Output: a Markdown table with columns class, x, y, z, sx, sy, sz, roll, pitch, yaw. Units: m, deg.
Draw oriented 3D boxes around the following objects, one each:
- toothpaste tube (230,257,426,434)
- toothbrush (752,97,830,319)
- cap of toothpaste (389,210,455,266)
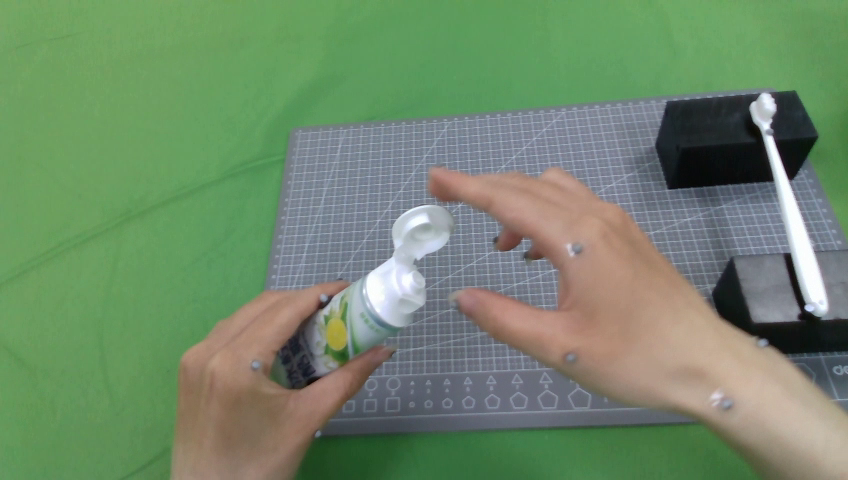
| class | x | y | z | sx | sy | sz | roll | pitch | yaw |
| --- | --- | --- | --- | --- | --- | --- | --- | --- | --- |
| toothpaste tube | -0.060 | 0.059 | 0.355 | 0.165 | 0.035 | 0.054 | -37 | 69 | 29 |
| toothbrush | 0.250 | -0.029 | 0.414 | 0.014 | 0.017 | 0.180 | 9 | 58 | -4 |
| cap of toothpaste | -0.001 | -0.001 | 0.321 | 0.037 | 0.038 | 0.011 | -16 | 49 | -3 |
